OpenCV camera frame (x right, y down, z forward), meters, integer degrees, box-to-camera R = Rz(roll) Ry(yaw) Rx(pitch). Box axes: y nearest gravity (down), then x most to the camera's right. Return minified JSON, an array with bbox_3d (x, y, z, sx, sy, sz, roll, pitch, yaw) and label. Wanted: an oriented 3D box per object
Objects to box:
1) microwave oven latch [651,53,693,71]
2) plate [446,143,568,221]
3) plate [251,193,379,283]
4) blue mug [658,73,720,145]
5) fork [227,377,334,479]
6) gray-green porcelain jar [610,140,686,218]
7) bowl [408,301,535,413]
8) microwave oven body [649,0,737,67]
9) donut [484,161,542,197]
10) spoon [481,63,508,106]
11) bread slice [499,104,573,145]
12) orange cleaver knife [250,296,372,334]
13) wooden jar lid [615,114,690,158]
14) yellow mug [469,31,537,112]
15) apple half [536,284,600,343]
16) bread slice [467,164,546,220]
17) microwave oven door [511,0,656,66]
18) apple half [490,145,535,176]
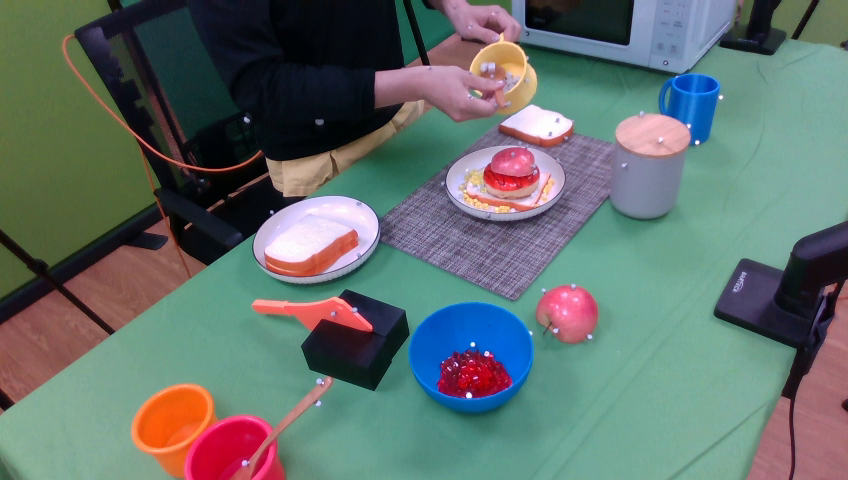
[{"bbox_3d":[0.532,-0.386,1.301,0.078,0.029,0.030,27,52,34],"label":"microwave oven latch"},{"bbox_3d":[0.142,-0.097,1.045,0.207,0.039,0.206,-4,40,4],"label":"plate"},{"bbox_3d":[-0.174,-0.001,0.984,0.209,0.038,0.208,-4,41,4],"label":"plate"},{"bbox_3d":[0.483,-0.250,1.127,0.082,0.106,0.115,-26,44,-19],"label":"blue mug"},{"bbox_3d":[-0.163,0.216,0.647,0.207,0.019,0.028,-49,41,16],"label":"fork"},{"bbox_3d":[0.354,-0.106,0.964,0.106,0.127,0.105,-4,41,4],"label":"gray-green porcelain jar"},{"bbox_3d":[0.059,0.156,0.739,0.151,0.077,0.150,-4,40,4],"label":"bowl"},{"bbox_3d":[0.475,-0.602,1.411,0.438,0.261,0.327,23,50,32],"label":"microwave oven body"},{"bbox_3d":[0.149,-0.109,1.016,0.099,0.048,0.098,-4,40,4],"label":"donut"},{"bbox_3d":[0.114,-0.247,0.954,0.041,0.022,0.193,-10,28,8],"label":"spoon"},{"bbox_3d":[0.231,-0.231,1.205,0.105,0.019,0.130,-37,47,-28],"label":"bread slice"},{"bbox_3d":[-0.158,0.103,0.828,0.210,0.078,0.012,-4,43,39],"label":"orange cleaver knife"},{"bbox_3d":[0.347,-0.155,0.923,0.108,0.021,0.108,-3,44,4],"label":"wooden jar lid"},{"bbox_3d":[0.134,-0.289,1.016,0.099,0.064,0.130,-1,76,25],"label":"yellow mug"},{"bbox_3d":[0.196,0.091,0.815,0.075,0.053,0.080,-22,42,-20],"label":"apple half"},{"bbox_3d":[0.143,-0.088,1.052,0.134,0.018,0.107,14,49,12],"label":"bread slice"},{"bbox_3d":[0.350,-0.539,1.348,0.353,0.245,0.039,24,50,31],"label":"microwave oven door"},{"bbox_3d":[0.147,-0.139,0.994,0.081,0.033,0.081,2,39,-1],"label":"apple half"}]
